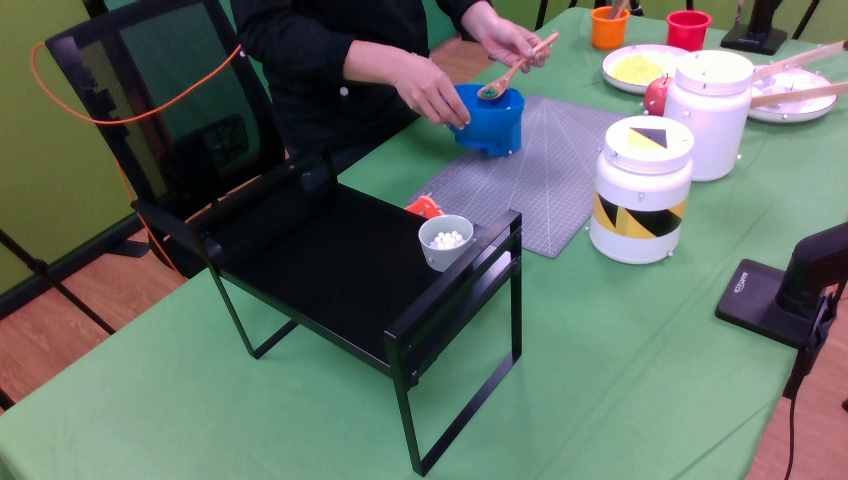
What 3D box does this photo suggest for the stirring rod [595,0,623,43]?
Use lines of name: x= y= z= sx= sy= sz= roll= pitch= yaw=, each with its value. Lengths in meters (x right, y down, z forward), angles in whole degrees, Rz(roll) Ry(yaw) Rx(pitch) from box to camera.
stirring rod: x=0.460 y=-0.556 z=1.460 sx=0.014 sy=0.006 sz=0.176 roll=30 pitch=93 yaw=23

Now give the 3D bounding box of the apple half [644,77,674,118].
apple half: x=0.463 y=-0.279 z=1.194 sx=0.053 sy=0.075 sz=0.081 roll=8 pitch=46 yaw=24

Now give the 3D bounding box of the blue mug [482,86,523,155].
blue mug: x=0.135 y=-0.235 z=1.163 sx=0.082 sy=0.106 sz=0.115 roll=-36 pitch=48 yaw=-28

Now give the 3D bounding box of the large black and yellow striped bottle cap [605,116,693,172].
large black and yellow striped bottle cap: x=0.309 y=-0.134 z=0.833 sx=0.115 sy=0.019 sz=0.114 roll=-5 pitch=40 yaw=5

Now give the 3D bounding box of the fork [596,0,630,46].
fork: x=0.481 y=-0.556 z=1.453 sx=0.028 sy=0.019 sz=0.207 roll=40 pitch=103 yaw=40

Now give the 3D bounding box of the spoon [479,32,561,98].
spoon: x=0.172 y=-0.308 z=1.060 sx=0.194 sy=0.022 sz=0.041 roll=-43 pitch=49 yaw=-8

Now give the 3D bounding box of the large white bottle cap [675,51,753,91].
large white bottle cap: x=0.463 y=-0.271 z=0.967 sx=0.115 sy=0.018 sz=0.114 roll=-4 pitch=40 yaw=4

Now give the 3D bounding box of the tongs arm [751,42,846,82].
tongs arm: x=0.708 y=-0.331 z=1.193 sx=0.386 sy=0.026 sz=0.050 roll=-18 pitch=45 yaw=-16

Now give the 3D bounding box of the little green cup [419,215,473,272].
little green cup: x=0.026 y=0.005 z=0.678 sx=0.061 sy=0.039 sz=0.061 roll=-4 pitch=40 yaw=4

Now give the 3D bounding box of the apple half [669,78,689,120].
apple half: x=0.498 y=-0.273 z=1.180 sx=0.032 sy=0.082 sz=0.081 roll=7 pitch=42 yaw=25

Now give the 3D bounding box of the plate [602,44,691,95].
plate: x=0.495 y=-0.367 z=1.317 sx=0.209 sy=0.038 sz=0.208 roll=-4 pitch=40 yaw=4

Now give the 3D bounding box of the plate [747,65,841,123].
plate: x=0.694 y=-0.282 z=1.189 sx=0.207 sy=0.039 sz=0.206 roll=-4 pitch=40 yaw=4

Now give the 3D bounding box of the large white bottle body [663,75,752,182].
large white bottle body: x=0.472 y=-0.207 z=1.022 sx=0.130 sy=0.185 sz=0.130 roll=-4 pitch=41 yaw=4

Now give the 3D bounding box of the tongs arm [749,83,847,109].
tongs arm: x=0.734 y=-0.280 z=1.133 sx=0.388 sy=0.028 sz=0.028 roll=-9 pitch=47 yaw=-5

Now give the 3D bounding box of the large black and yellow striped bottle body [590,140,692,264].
large black and yellow striped bottle body: x=0.317 y=-0.071 z=0.889 sx=0.131 sy=0.185 sz=0.130 roll=-4 pitch=41 yaw=4

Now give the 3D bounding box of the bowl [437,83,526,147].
bowl: x=0.093 y=-0.208 z=1.026 sx=0.151 sy=0.077 sz=0.151 roll=4 pitch=30 yaw=-2

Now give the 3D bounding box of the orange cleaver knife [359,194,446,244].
orange cleaver knife: x=-0.032 y=-0.026 z=0.965 sx=0.210 sy=0.077 sz=0.012 roll=-10 pitch=29 yaw=51
